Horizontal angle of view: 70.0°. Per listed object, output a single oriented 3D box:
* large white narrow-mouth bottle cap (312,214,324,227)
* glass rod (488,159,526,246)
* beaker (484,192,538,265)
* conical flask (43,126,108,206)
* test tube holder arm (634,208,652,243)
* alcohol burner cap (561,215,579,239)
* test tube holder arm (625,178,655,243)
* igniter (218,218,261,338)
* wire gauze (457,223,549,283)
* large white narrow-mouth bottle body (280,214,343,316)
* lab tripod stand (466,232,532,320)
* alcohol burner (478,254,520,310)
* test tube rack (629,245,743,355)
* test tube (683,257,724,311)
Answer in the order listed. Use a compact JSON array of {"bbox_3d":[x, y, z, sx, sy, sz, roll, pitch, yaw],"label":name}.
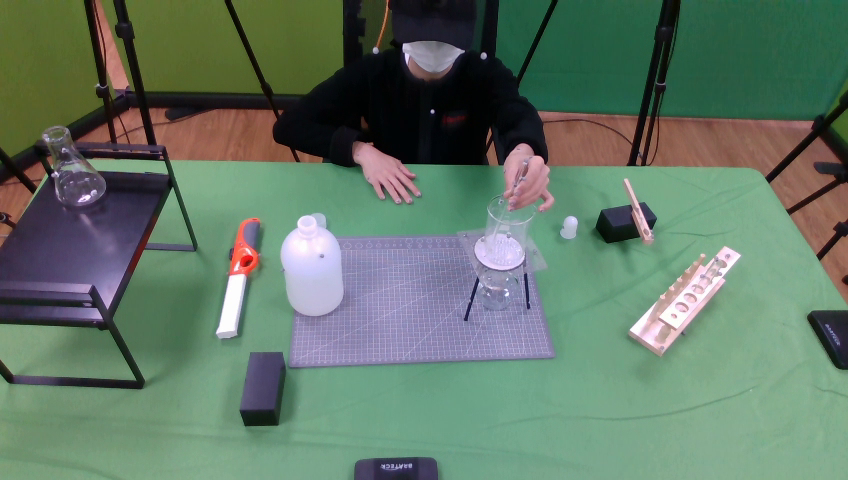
[{"bbox_3d":[-0.219,-0.033,1.214,0.038,0.024,0.037,2,46,-2],"label":"large white narrow-mouth bottle cap"},{"bbox_3d":[0.127,-0.053,0.938,0.008,0.200,0.008,6,51,-7],"label":"glass rod"},{"bbox_3d":[0.137,-0.016,0.980,0.084,0.101,0.073,-6,45,-9],"label":"beaker"},{"bbox_3d":[-0.555,-0.119,0.953,0.075,0.122,0.075,2,46,-2],"label":"conical flask"},{"bbox_3d":[0.428,-0.030,1.189,0.010,0.015,0.087,3,47,-3],"label":"test tube holder arm"},{"bbox_3d":[0.299,-0.030,1.231,0.034,0.048,0.033,1,46,-1],"label":"alcohol burner cap"},{"bbox_3d":[0.433,-0.062,1.220,0.013,0.015,0.177,2,47,-3],"label":"test tube holder arm"},{"bbox_3d":[-0.336,0.060,1.111,0.057,0.025,0.274,-8,46,4],"label":"igniter"},{"bbox_3d":[0.131,0.016,1.017,0.121,0.011,0.124,-10,44,-15],"label":"wire gauze"},{"bbox_3d":[-0.190,0.035,1.025,0.102,0.195,0.101,2,46,-2],"label":"large white narrow-mouth bottle body"},{"bbox_3d":[0.125,0.059,1.065,0.148,0.132,0.147,1,45,0],"label":"lab tripod stand"},{"bbox_3d":[0.134,0.068,1.071,0.078,0.120,0.077,0,47,0],"label":"alcohol burner"},{"bbox_3d":[0.474,0.095,1.091,0.242,0.085,0.066,-34,56,-31],"label":"test tube rack"},{"bbox_3d":[0.476,0.080,1.037,0.017,0.151,0.017,1,51,-2],"label":"test tube"}]
